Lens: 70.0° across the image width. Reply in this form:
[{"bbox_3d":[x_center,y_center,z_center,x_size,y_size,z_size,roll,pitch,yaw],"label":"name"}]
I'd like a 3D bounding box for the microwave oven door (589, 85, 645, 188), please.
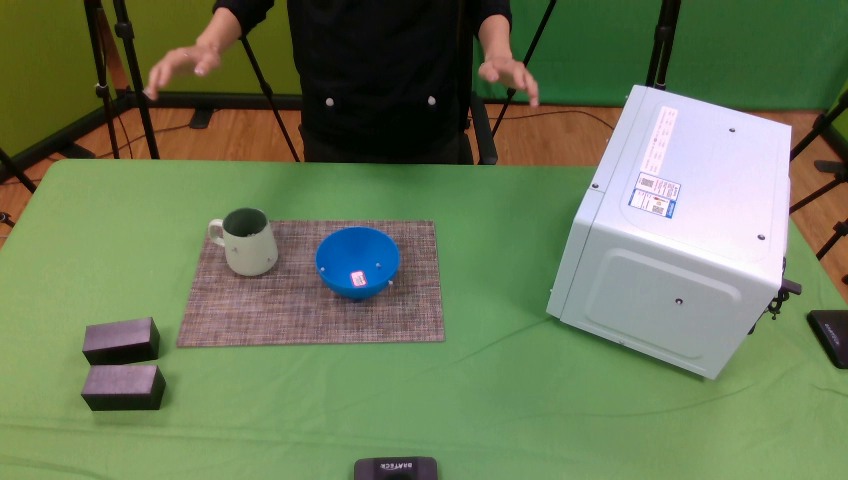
[{"bbox_3d":[0.342,-0.107,1.149,0.039,0.245,0.354,20,48,15],"label":"microwave oven door"}]

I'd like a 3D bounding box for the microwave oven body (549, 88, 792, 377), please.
[{"bbox_3d":[0.456,-0.028,1.088,0.325,0.261,0.440,20,47,16],"label":"microwave oven body"}]

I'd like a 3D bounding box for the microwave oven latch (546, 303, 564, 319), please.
[{"bbox_3d":[0.242,0.102,1.081,0.030,0.029,0.079,21,48,17],"label":"microwave oven latch"}]

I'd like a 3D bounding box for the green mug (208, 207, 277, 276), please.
[{"bbox_3d":[-0.335,0.000,1.108,0.125,0.105,0.092,14,47,9],"label":"green mug"}]

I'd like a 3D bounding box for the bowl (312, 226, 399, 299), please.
[{"bbox_3d":[-0.120,0.054,1.091,0.151,0.077,0.150,2,46,-2],"label":"bowl"}]
